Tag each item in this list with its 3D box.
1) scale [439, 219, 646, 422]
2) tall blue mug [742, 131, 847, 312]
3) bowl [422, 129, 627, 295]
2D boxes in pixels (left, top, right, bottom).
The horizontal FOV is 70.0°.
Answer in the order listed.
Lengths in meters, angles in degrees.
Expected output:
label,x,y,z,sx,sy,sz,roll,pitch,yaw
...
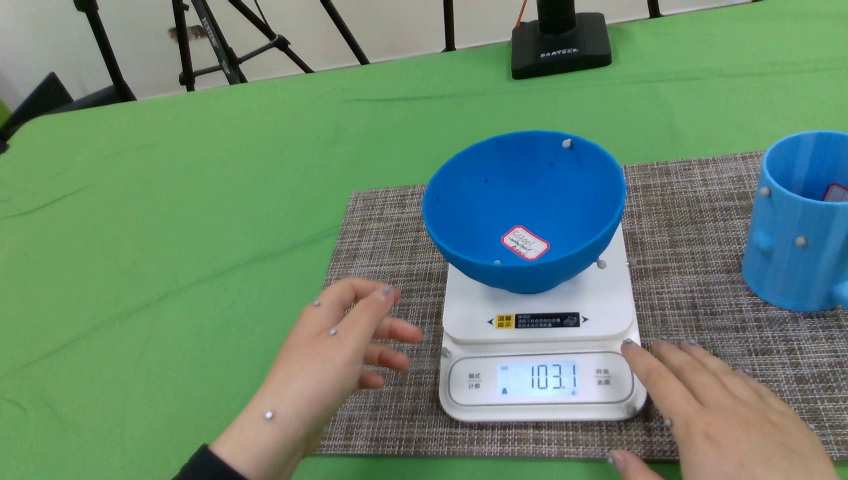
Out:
label,x,y,z,sx,sy,sz,roll,pitch,yaw
scale,0.091,0.048,0.487,0.148,0.032,0.199,-5,46,14
tall blue mug,0.285,-0.004,0.419,0.077,0.109,0.106,-40,48,-22
bowl,0.079,-0.010,0.471,0.151,0.077,0.150,-8,45,9
